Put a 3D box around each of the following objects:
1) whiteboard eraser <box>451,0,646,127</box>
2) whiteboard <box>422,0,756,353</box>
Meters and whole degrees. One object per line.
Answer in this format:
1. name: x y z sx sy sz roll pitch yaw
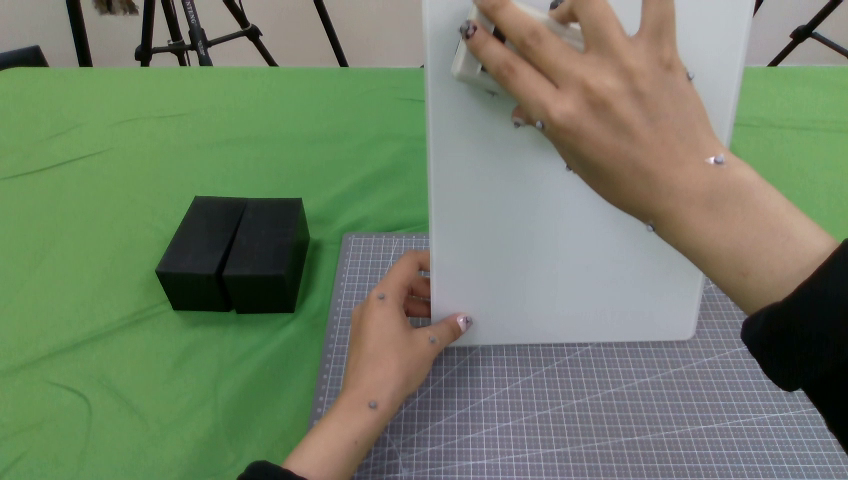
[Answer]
1. whiteboard eraser: 0.077 -0.115 0.385 0.113 0.056 0.041 16 22 -6
2. whiteboard: 0.110 -0.077 0.496 0.217 0.307 0.143 -1 24 1
